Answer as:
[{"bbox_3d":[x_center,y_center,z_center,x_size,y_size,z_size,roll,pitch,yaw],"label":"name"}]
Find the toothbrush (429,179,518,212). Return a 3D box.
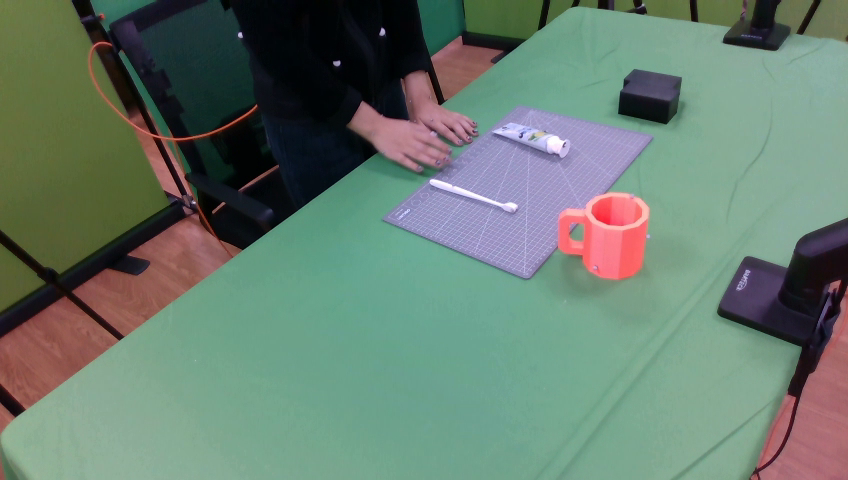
[{"bbox_3d":[0.084,-0.081,1.062,0.180,0.014,0.017,20,45,30],"label":"toothbrush"}]

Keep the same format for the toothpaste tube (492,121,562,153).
[{"bbox_3d":[0.208,-0.203,1.174,0.055,0.034,0.163,-27,39,-30],"label":"toothpaste tube"}]

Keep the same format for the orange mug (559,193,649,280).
[{"bbox_3d":[0.261,-0.008,0.884,0.126,0.101,0.083,9,43,14],"label":"orange mug"}]

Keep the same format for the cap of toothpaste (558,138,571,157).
[{"bbox_3d":[0.258,-0.171,1.118,0.011,0.037,0.037,25,52,32],"label":"cap of toothpaste"}]
